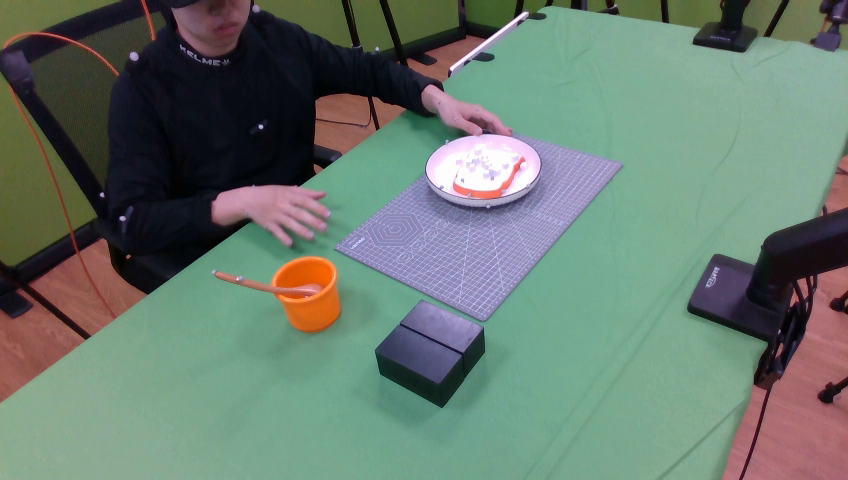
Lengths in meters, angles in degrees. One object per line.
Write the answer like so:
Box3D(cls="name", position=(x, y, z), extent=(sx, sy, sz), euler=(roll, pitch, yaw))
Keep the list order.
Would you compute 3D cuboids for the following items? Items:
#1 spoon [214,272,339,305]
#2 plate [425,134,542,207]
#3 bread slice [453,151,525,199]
Box3D(cls="spoon", position=(-0.192, 0.066, 0.814), extent=(0.195, 0.021, 0.041), euler=(13, 20, -44))
Box3D(cls="plate", position=(0.106, -0.121, 1.079), extent=(0.209, 0.038, 0.208), euler=(-4, 41, 4))
Box3D(cls="bread slice", position=(0.112, -0.118, 1.079), extent=(0.104, 0.019, 0.131), euler=(12, 42, 21))
